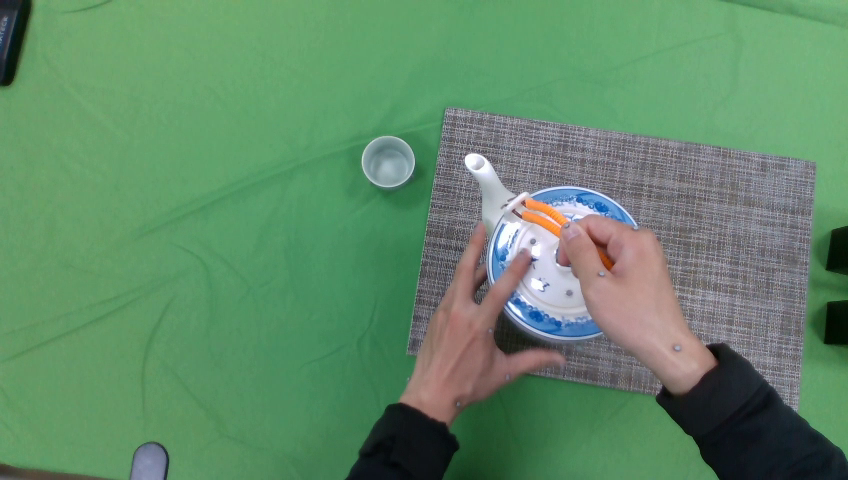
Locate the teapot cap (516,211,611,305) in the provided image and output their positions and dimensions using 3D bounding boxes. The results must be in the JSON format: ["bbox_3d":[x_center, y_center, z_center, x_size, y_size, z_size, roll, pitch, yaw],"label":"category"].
[{"bbox_3d":[0.123,0.014,0.533,0.085,0.044,0.085,-1,78,3],"label":"teapot cap"}]

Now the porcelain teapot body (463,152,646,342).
[{"bbox_3d":[0.110,0.002,0.577,0.145,0.226,0.204,-45,78,-2],"label":"porcelain teapot body"}]

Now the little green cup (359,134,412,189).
[{"bbox_3d":[-0.044,-0.089,0.709,0.061,0.039,0.061,0,82,0],"label":"little green cup"}]
